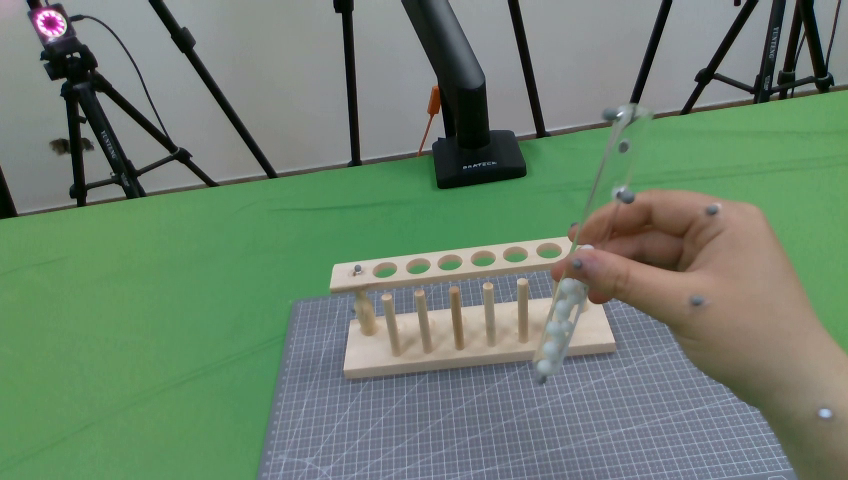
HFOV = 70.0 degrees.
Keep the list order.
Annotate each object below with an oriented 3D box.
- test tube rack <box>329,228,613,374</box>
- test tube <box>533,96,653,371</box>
[{"bbox_3d":[0.042,0.056,0.545,0.242,0.086,0.066,-7,37,4],"label":"test tube rack"},{"bbox_3d":[0.079,0.004,0.298,0.017,0.151,0.017,9,27,-5],"label":"test tube"}]
